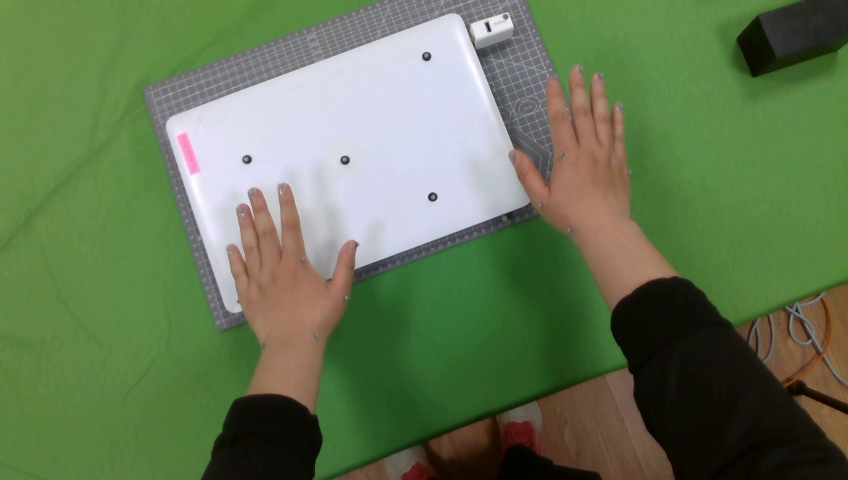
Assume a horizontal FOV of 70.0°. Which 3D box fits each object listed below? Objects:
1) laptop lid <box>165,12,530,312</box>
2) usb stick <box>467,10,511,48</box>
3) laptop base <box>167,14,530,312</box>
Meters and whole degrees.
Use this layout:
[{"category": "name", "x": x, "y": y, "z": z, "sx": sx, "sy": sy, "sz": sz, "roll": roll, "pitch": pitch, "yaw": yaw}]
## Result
[{"category": "laptop lid", "x": -0.087, "y": -0.088, "z": 0.661, "sx": 0.357, "sy": 0.013, "sz": 0.241, "roll": -19, "pitch": 83, "yaw": 0}, {"category": "usb stick", "x": 0.065, "y": -0.233, "z": 0.674, "sx": 0.059, "sy": 0.027, "sz": 0.021, "roll": -19, "pitch": 81, "yaw": 2}, {"category": "laptop base", "x": -0.087, "y": -0.088, "z": 0.673, "sx": 0.354, "sy": 0.023, "sz": 0.235, "roll": -21, "pitch": 84, "yaw": 0}]
